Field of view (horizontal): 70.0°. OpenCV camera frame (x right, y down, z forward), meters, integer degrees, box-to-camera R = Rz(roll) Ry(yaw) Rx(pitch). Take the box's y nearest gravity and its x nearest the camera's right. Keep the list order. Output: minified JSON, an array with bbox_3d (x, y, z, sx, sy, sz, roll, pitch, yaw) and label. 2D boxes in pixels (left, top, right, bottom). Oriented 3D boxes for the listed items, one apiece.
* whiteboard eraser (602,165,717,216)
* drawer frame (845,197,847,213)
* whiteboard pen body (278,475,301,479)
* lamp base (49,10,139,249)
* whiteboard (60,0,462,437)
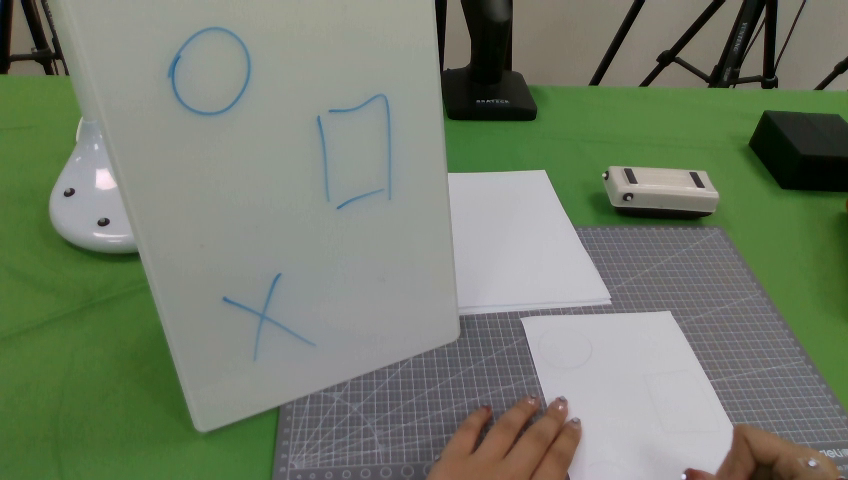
[{"bbox_3d":[0.258,-0.054,0.669,0.113,0.042,0.055,4,42,-2],"label":"whiteboard eraser"},{"bbox_3d":[0.542,0.023,0.583,0.201,0.083,0.212,15,42,12],"label":"drawer frame"},{"bbox_3d":[-0.144,0.178,0.378,0.141,0.017,0.017,-13,45,-22],"label":"whiteboard pen body"},{"bbox_3d":[-0.292,-0.109,0.564,0.178,0.182,0.160,27,46,26],"label":"lamp base"},{"bbox_3d":[-0.107,-0.047,0.466,0.218,0.307,0.142,-16,27,-21],"label":"whiteboard"}]
